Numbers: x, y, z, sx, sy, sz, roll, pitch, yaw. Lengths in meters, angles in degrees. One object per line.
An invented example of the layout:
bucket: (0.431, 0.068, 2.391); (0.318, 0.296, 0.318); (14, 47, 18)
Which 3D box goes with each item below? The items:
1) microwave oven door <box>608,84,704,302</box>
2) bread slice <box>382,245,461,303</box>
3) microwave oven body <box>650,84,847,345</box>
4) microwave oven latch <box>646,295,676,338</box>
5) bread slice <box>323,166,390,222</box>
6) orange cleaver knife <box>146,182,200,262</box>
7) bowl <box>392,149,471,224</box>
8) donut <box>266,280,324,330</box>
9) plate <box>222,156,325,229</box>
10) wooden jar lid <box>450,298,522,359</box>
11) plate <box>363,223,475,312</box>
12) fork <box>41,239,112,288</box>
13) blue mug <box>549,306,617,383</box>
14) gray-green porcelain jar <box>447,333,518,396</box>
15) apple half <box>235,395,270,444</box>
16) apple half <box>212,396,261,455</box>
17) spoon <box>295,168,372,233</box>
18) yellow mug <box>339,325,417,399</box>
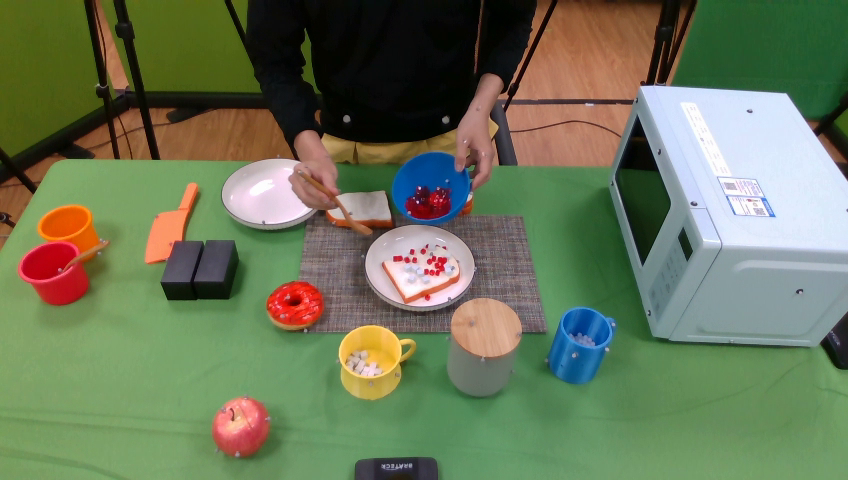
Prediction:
microwave oven door: (0.424, -0.096, 1.138); (0.039, 0.245, 0.353); (2, 47, -1)
bread slice: (0.001, 0.055, 1.129); (0.131, 0.019, 0.104); (-22, 52, -19)
microwave oven body: (0.569, -0.054, 1.116); (0.326, 0.261, 0.439); (2, 46, -1)
microwave oven latch: (0.413, 0.133, 1.060); (0.030, 0.029, 0.078); (4, 46, 1)
bread slice: (-0.140, -0.092, 1.224); (0.134, 0.018, 0.106); (-19, 51, 6)
orange cleaver knife: (-0.494, -0.039, 1.198); (0.077, 0.012, 0.210); (-3, 48, 2)
bowl: (0.021, -0.089, 1.155); (0.151, 0.077, 0.150); (-5, 64, 11)
donut: (-0.223, 0.113, 1.051); (0.099, 0.048, 0.098); (2, 45, -2)
plate: (-0.308, -0.095, 1.251); (0.209, 0.038, 0.208); (3, 47, -3)
wooden jar lid: (0.093, 0.135, 0.914); (0.108, 0.021, 0.107); (2, 48, -3)
plate: (-0.009, 0.054, 1.127); (0.208, 0.039, 0.206); (2, 46, -2)
fork: (-0.591, 0.040, 1.028); (0.207, 0.019, 0.028); (-27, 37, 29)
blue mug: (0.269, 0.167, 0.997); (0.116, 0.106, 0.082); (-19, 50, -21)
gray-green porcelain jar: (0.091, 0.178, 0.960); (0.106, 0.127, 0.105); (2, 46, -2)
apple half: (-0.245, 0.260, 0.893); (0.033, 0.082, 0.081); (-29, 55, -22)
apple half: (-0.276, 0.276, 0.877); (0.053, 0.075, 0.080); (-29, 58, -20)
spoon: (-0.149, -0.064, 1.012); (0.021, 0.195, 0.041); (-44, 43, -2)
yellow mug: (-0.072, 0.190, 0.978); (0.131, 0.064, 0.099); (-17, 50, -20)
